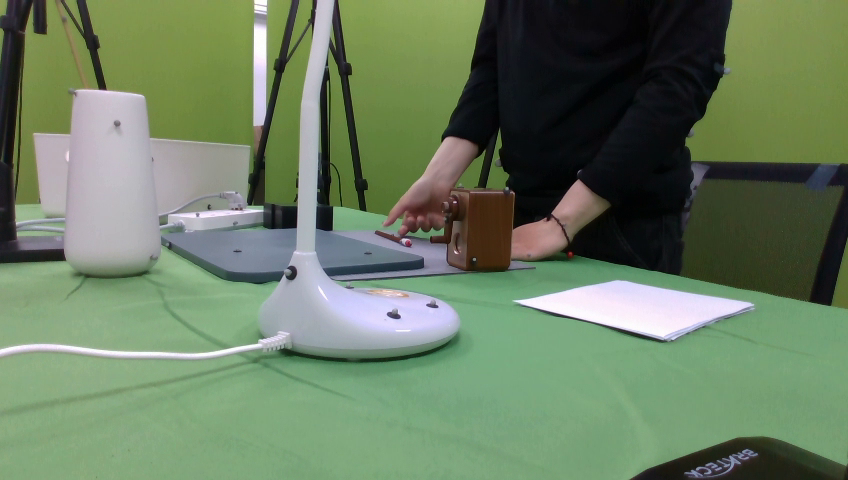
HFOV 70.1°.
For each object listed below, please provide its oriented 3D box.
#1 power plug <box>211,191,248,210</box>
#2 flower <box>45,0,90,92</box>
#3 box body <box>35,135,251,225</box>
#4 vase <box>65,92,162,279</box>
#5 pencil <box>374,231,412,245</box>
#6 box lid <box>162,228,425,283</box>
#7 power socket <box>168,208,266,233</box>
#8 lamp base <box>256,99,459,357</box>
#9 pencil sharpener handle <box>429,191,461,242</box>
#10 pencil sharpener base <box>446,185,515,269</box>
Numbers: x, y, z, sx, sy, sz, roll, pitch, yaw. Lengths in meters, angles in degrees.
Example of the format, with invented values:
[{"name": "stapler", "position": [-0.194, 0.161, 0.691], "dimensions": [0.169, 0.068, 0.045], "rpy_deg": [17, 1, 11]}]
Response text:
[{"name": "power plug", "position": [-0.384, -0.071, 1.205], "dimensions": [0.072, 0.052, 0.035], "rpy_deg": [1, 8, 28]}, {"name": "flower", "position": [-0.362, -0.142, 0.663], "dimensions": [0.044, 0.361, 0.038], "rpy_deg": [-11, 11, 31]}, {"name": "box body", "position": [-0.559, -0.127, 1.257], "dimensions": [0.253, 0.160, 0.365], "rpy_deg": [4, 8, 15]}, {"name": "vase", "position": [-0.347, -0.060, 0.673], "dimensions": [0.098, 0.200, 0.098], "rpy_deg": [1, 7, 0]}, {"name": "pencil", "position": [-0.059, -0.007, 1.061], "dimensions": [0.012, 0.012, 0.193], "rpy_deg": [-1, 6, -22]}, {"name": "box lid", "position": [-0.200, 0.014, 0.861], "dimensions": [0.265, 0.015, 0.369], "rpy_deg": [-4, 9, -35]}, {"name": "power socket", "position": [-0.379, -0.038, 1.129], "dimensions": [0.072, 0.032, 0.227], "rpy_deg": [4, 8, 18]}, {"name": "lamp base", "position": [-0.055, -0.013, 0.463], "dimensions": [0.160, 0.180, 0.180], "rpy_deg": [6, 11, 27]}, {"name": "pencil sharpener handle", "position": [0.025, -0.030, 0.780], "dimensions": [0.031, 0.067, 0.036], "rpy_deg": [-2, 16, -25]}, {"name": "pencil sharpener base", "position": [0.072, -0.018, 0.802], "dimensions": [0.077, 0.107, 0.061], "rpy_deg": [-2, 9, -25]}]
